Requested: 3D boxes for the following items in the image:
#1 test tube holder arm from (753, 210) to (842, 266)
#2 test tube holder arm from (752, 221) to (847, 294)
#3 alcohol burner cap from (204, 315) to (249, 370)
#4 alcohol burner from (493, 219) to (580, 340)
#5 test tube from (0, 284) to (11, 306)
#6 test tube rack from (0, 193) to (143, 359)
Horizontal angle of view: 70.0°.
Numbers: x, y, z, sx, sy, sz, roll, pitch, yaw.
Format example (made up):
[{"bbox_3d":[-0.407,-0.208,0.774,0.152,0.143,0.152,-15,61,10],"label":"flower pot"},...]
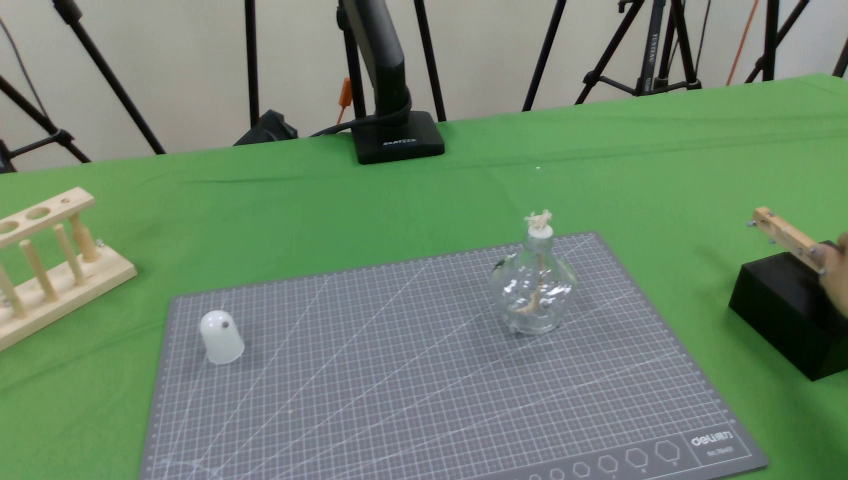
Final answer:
[{"bbox_3d":[0.338,0.000,0.551,0.015,0.010,0.087,-13,38,-14],"label":"test tube holder arm"},{"bbox_3d":[0.353,0.029,0.520,0.015,0.013,0.176,-13,38,-14],"label":"test tube holder arm"},{"bbox_3d":[-0.174,0.086,0.529,0.034,0.048,0.033,-1,37,1],"label":"alcohol burner cap"},{"bbox_3d":[0.100,0.029,0.530,0.078,0.120,0.077,-1,39,1],"label":"alcohol burner"},{"bbox_3d":[-0.404,-0.002,0.546,0.017,0.151,0.017,-1,33,1],"label":"test tube"},{"bbox_3d":[-0.399,0.053,0.554,0.066,0.086,0.242,25,44,32],"label":"test tube rack"}]
